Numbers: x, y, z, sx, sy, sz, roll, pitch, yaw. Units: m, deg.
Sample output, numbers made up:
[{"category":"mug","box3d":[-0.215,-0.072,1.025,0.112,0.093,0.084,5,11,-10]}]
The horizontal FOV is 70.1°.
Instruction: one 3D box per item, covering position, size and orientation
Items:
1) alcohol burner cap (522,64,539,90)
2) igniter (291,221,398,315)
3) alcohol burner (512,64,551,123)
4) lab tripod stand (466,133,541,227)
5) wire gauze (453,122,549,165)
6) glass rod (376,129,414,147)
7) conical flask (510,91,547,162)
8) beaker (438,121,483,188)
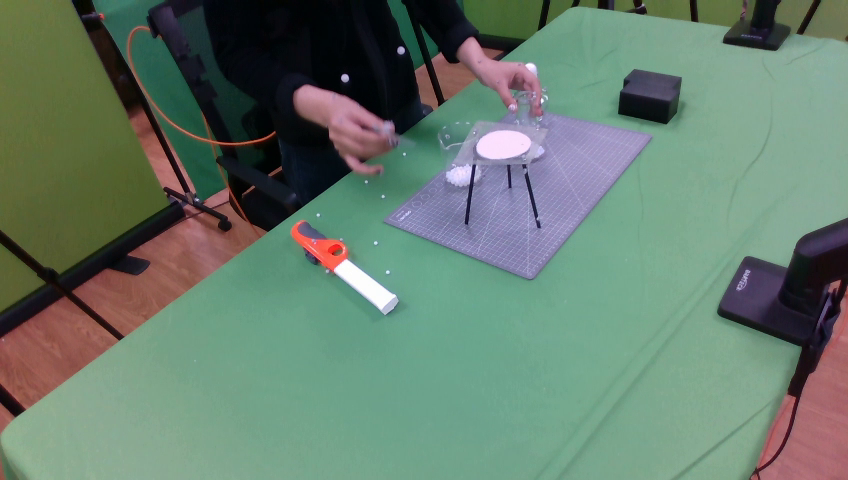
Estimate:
[{"category":"alcohol burner cap","box3d":[0.210,-0.324,1.195,0.034,0.048,0.033,-6,45,7]},{"category":"igniter","box3d":[-0.136,0.037,0.962,0.057,0.025,0.274,-41,48,-18]},{"category":"alcohol burner","box3d":[0.215,-0.298,1.220,0.078,0.120,0.077,-7,40,7]},{"category":"lab tripod stand","box3d":[0.130,-0.099,0.985,0.148,0.132,0.147,-6,38,6]},{"category":"wire gauze","box3d":[0.121,-0.150,0.942,0.121,0.011,0.125,8,42,21]},{"category":"glass rod","box3d":[-0.040,-0.152,0.912,0.008,0.008,0.200,1,3,13]},{"category":"conical flask","box3d":[0.189,-0.212,1.116,0.075,0.122,0.075,-6,40,5]},{"category":"beaker","box3d":[0.066,-0.149,1.084,0.073,0.101,0.084,20,49,31]}]
